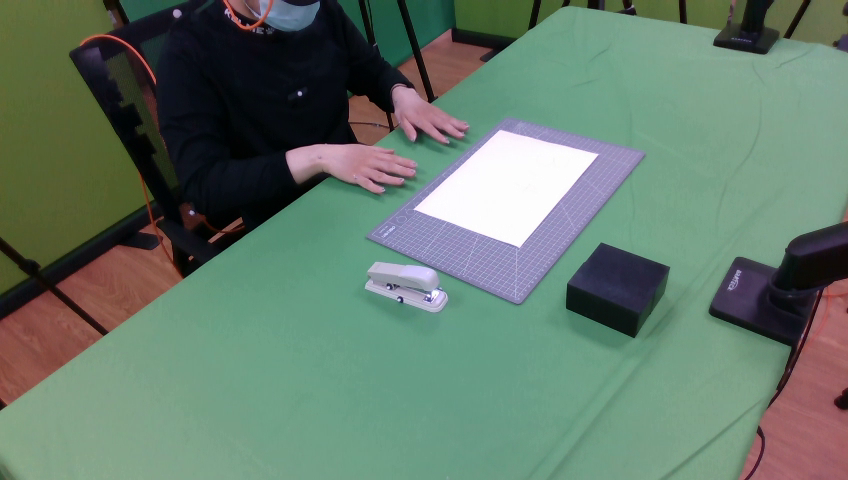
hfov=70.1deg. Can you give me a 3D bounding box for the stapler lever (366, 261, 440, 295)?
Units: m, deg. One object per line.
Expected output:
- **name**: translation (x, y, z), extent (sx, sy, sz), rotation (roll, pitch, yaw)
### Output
- **stapler lever**: translation (-0.031, 0.049, 0.878), extent (0.117, 0.040, 0.027), rotation (15, 43, 26)

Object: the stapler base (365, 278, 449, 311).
- **stapler base**: translation (-0.027, 0.069, 0.893), extent (0.129, 0.024, 0.041), rotation (15, 42, 26)
